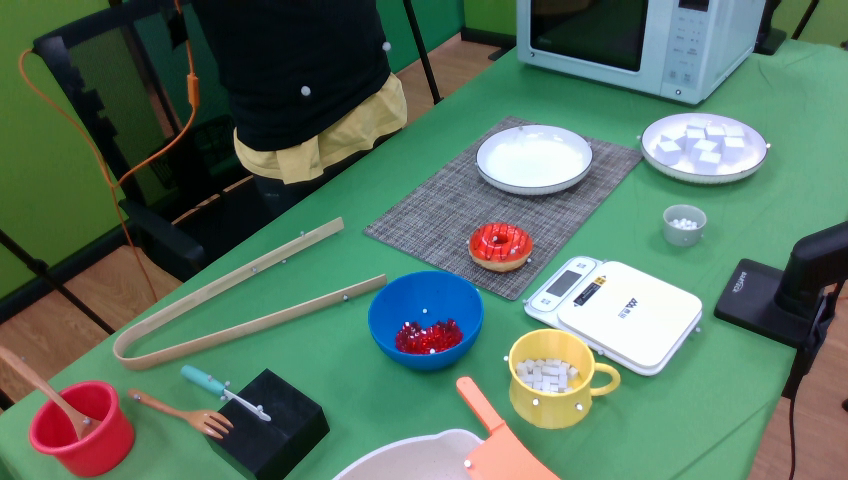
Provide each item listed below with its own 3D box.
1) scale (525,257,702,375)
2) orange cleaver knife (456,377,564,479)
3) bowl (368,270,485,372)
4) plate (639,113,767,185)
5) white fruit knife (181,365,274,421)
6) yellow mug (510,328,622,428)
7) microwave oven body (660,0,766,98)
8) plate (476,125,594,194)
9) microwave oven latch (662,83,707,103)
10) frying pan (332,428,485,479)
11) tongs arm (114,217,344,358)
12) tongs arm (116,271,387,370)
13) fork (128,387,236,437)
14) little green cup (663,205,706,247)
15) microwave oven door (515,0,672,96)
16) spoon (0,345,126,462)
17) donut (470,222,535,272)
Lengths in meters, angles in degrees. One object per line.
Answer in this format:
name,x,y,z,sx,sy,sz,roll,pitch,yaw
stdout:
scale,0.254,0.091,0.821,0.199,0.032,0.149,28,51,35
orange cleaver knife,0.081,0.220,0.611,0.077,0.012,0.209,-26,43,-22
bowl,0.007,0.118,0.791,0.151,0.077,0.150,-4,40,4
plate,0.489,-0.157,1.074,0.207,0.039,0.206,-4,40,4
white fruit knife,-0.245,0.187,0.747,0.205,0.027,0.016,9,42,40
yellow mug,0.169,0.164,0.722,0.130,0.064,0.099,0,40,8
microwave oven body,0.472,-0.513,1.317,0.438,0.261,0.327,26,51,34
plate,0.199,-0.141,1.093,0.209,0.038,0.208,-4,40,4
microwave oven latch,0.517,-0.296,1.204,0.078,0.029,0.030,27,52,35
frying pan,-0.089,0.306,0.564,0.487,0.103,0.306,10,41,7
tongs arm,-0.280,0.067,0.927,0.386,0.026,0.050,-29,48,-23
tongs arm,-0.237,0.113,0.869,0.389,0.028,0.028,-18,48,-12
fork,-0.305,0.207,0.744,0.206,0.019,0.028,3,41,36
little green cup,0.396,-0.021,0.926,0.061,0.039,0.061,-4,40,4
microwave oven door,0.343,-0.454,1.259,0.353,0.245,0.039,26,51,33
spoon,-0.434,0.192,0.720,0.194,0.021,0.042,47,54,-7
donut,0.119,0.009,0.923,0.099,0.048,0.098,-3,38,3
